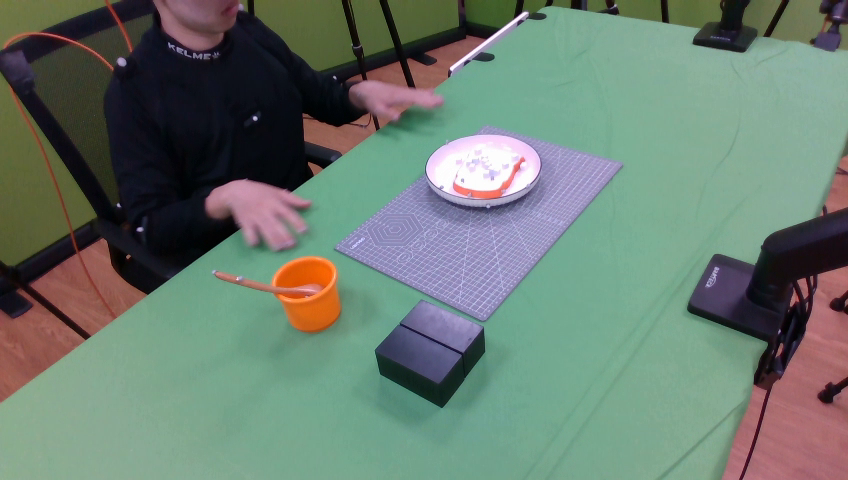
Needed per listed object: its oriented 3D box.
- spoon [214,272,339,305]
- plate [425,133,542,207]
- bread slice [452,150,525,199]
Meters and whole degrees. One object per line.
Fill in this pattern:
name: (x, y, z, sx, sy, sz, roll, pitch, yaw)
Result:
spoon: (-0.192, 0.066, 0.814, 0.195, 0.021, 0.041, 13, 20, -44)
plate: (0.106, -0.121, 1.079, 0.209, 0.038, 0.208, -4, 41, 4)
bread slice: (0.112, -0.118, 1.079, 0.104, 0.019, 0.131, 11, 42, 21)
